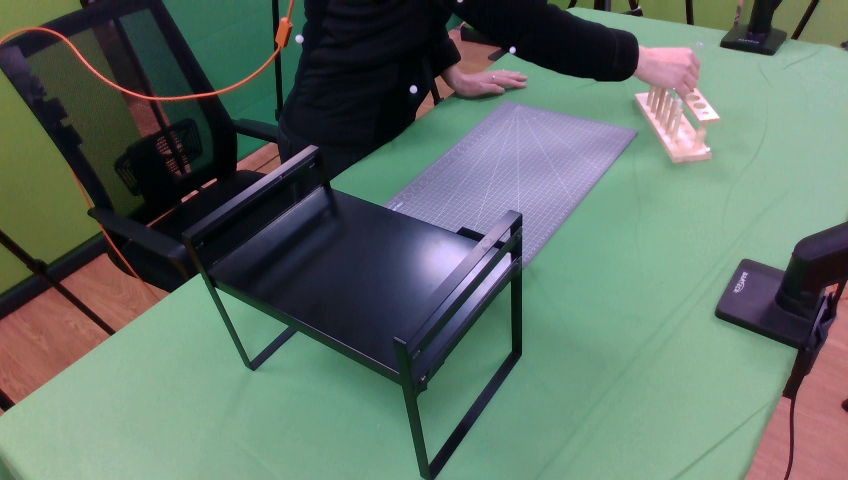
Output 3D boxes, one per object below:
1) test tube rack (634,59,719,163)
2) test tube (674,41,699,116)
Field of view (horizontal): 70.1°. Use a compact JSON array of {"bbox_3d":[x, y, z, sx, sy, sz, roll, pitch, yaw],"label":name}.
[{"bbox_3d":[0.471,-0.250,1.148,0.067,0.085,0.241,-6,40,3],"label":"test tube rack"},{"bbox_3d":[0.483,-0.296,1.123,0.017,0.151,0.017,-2,45,2],"label":"test tube"}]
